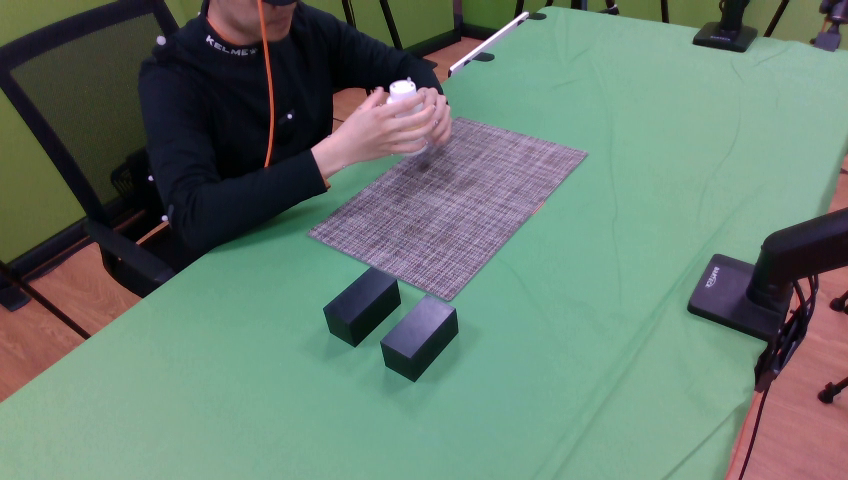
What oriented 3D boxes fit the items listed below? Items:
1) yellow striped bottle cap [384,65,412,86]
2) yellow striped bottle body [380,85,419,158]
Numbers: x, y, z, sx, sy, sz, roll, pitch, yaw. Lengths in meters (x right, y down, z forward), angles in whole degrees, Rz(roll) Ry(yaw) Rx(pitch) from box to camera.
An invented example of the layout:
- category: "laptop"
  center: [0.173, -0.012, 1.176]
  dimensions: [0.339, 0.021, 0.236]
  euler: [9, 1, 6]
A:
- category: "yellow striped bottle cap"
  center: [-0.043, -0.277, 1.018]
  dimensions: [0.044, 0.019, 0.044]
  euler: [-10, 39, 8]
- category: "yellow striped bottle body"
  center: [-0.043, -0.210, 1.058]
  dimensions: [0.063, 0.120, 0.062]
  euler: [5, 41, -4]
